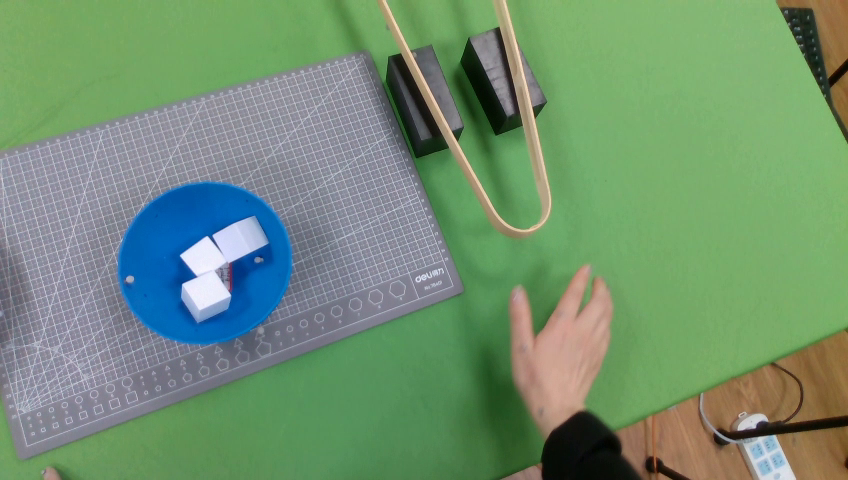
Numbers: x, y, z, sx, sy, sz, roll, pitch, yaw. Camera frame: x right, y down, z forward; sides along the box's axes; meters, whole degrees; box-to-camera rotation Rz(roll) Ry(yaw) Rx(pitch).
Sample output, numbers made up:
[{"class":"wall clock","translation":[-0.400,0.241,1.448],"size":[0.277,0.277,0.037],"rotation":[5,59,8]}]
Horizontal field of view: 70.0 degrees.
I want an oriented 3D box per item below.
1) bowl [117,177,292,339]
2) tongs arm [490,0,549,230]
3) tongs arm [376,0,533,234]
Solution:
[{"class":"bowl","translation":[-0.201,0.023,0.581],"size":[0.152,0.077,0.150],"rotation":[2,77,-8]},{"class":"tongs arm","translation":[0.084,-0.199,0.651],"size":[0.028,0.028,0.385],"rotation":[-8,79,-15]},{"class":"tongs arm","translation":[0.010,-0.176,0.636],"size":[0.051,0.026,0.383],"rotation":[-21,81,-14]}]
